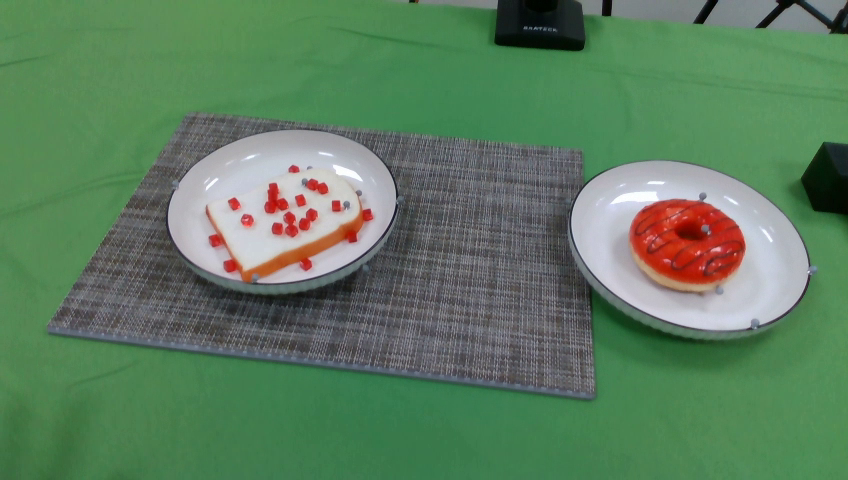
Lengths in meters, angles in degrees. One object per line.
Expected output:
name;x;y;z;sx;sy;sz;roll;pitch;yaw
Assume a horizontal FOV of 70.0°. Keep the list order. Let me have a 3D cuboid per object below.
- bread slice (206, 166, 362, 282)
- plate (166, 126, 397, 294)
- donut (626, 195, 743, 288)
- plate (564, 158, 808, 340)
bread slice;-0.127;-0.025;0.569;0.132;0.019;0.104;-26;54;-21
plate;-0.130;-0.029;0.570;0.209;0.038;0.207;1;49;0
donut;0.231;0.000;0.542;0.099;0.049;0.098;-1;49;1
plate;0.230;0.007;0.552;0.208;0.039;0.205;1;48;-1
